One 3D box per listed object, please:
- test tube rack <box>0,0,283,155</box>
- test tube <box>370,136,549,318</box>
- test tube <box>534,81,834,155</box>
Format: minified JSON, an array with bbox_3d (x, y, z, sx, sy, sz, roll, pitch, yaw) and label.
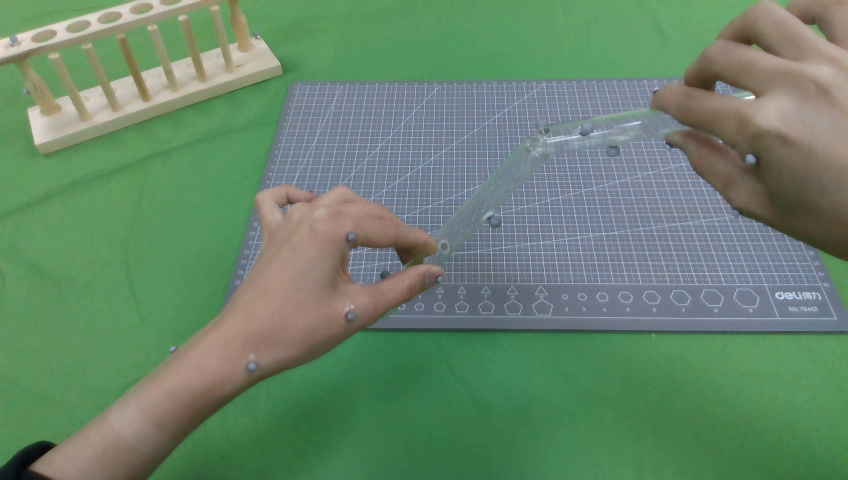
[{"bbox_3d":[-0.272,-0.175,0.594,0.242,0.086,0.066,-24,53,-17],"label":"test tube rack"},{"bbox_3d":[0.014,-0.001,0.335,0.017,0.151,0.017,28,36,-22],"label":"test tube"},{"bbox_3d":[0.129,-0.060,0.299,0.150,0.017,0.017,-9,50,-2],"label":"test tube"}]
